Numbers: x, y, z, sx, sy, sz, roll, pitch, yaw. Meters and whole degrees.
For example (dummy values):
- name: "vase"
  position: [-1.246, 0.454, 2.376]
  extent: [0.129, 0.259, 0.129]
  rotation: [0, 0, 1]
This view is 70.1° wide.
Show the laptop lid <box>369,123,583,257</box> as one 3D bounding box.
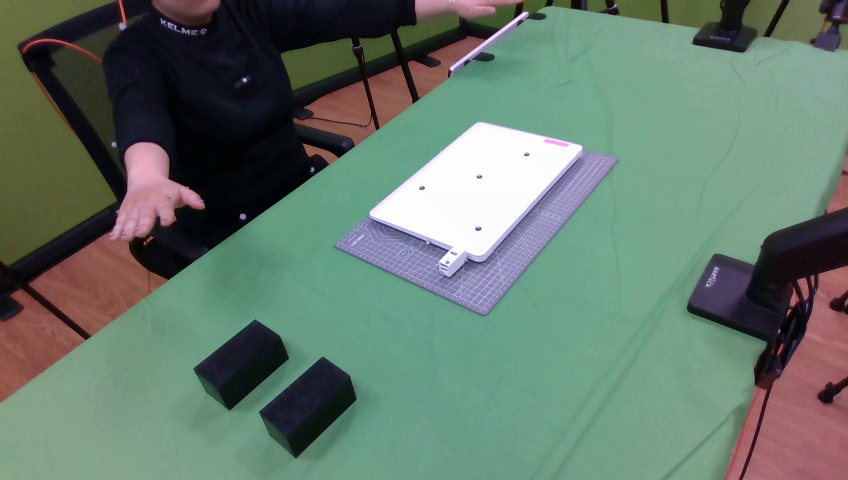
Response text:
- name: "laptop lid"
  position: [0.097, -0.106, 1.065]
  extent: [0.240, 0.013, 0.358]
  rotation: [22, 48, 33]

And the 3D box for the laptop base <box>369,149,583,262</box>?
- name: "laptop base"
  position: [0.101, -0.097, 1.071]
  extent: [0.233, 0.023, 0.355]
  rotation: [19, 47, 32]

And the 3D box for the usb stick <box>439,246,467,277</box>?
- name: "usb stick"
  position: [0.048, 0.028, 0.913]
  extent: [0.021, 0.027, 0.059]
  rotation: [24, 47, 31]
